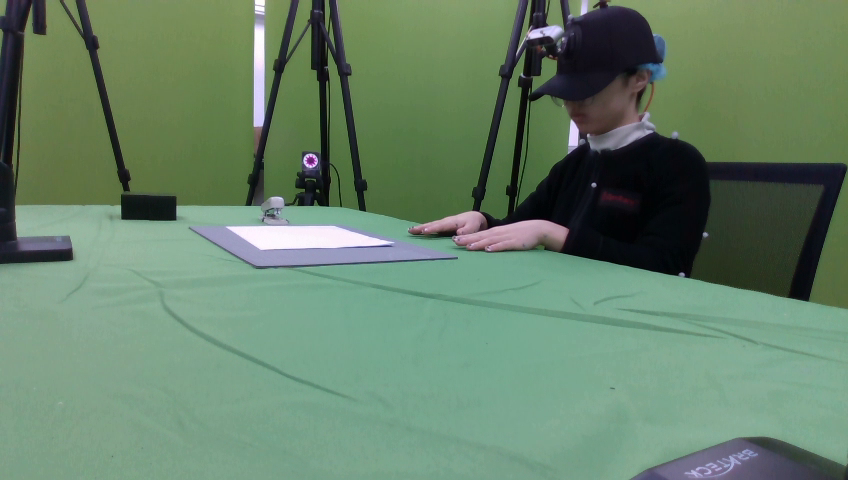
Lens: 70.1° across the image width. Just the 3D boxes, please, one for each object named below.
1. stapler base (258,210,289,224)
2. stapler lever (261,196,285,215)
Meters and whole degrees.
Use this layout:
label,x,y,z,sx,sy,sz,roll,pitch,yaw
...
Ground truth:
label,x,y,z,sx,sy,sz,roll,pitch,yaw
stapler base,-0.323,-0.052,1.295,0.041,0.024,0.130,1,5,-27
stapler lever,-0.323,-0.076,1.293,0.027,0.040,0.117,1,6,-27
